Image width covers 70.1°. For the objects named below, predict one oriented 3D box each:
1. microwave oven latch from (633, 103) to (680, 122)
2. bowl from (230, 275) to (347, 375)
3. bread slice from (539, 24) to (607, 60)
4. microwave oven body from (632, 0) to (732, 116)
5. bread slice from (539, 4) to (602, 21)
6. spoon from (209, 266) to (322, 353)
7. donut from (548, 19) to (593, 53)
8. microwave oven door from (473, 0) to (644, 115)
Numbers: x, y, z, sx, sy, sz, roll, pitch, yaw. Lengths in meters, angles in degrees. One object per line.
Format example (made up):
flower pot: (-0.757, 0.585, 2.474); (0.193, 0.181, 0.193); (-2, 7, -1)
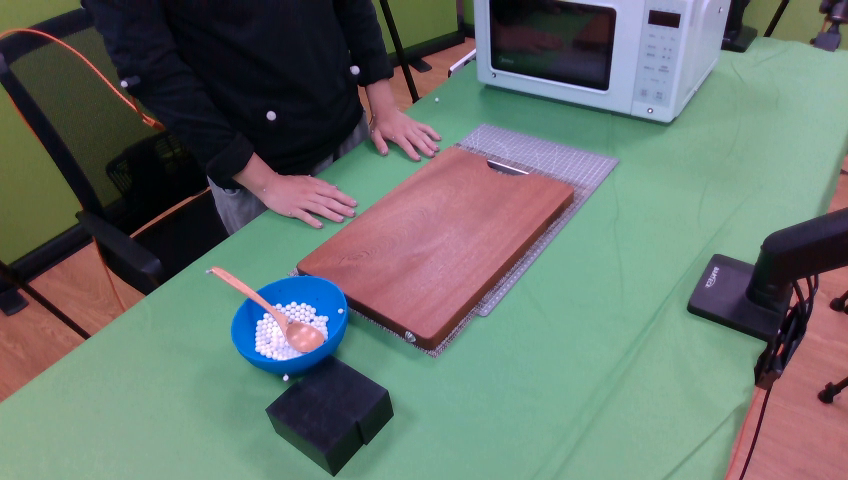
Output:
microwave oven latch: (0.443, -0.249, 1.157); (0.078, 0.029, 0.030); (21, 48, 30)
bowl: (-0.171, 0.125, 0.802); (0.151, 0.077, 0.150); (-4, 40, 4)
bread slice: (0.334, -0.443, 1.337); (0.132, 0.019, 0.104); (-33, 43, -21)
microwave oven body: (0.377, -0.462, 1.267); (0.438, 0.261, 0.327); (21, 48, 30)
bread slice: (0.315, -0.483, 1.278); (0.106, 0.018, 0.135); (15, 32, 26)
spoon: (-0.214, 0.088, 0.806); (0.193, 0.021, 0.042); (37, 55, 11)
donut: (0.314, -0.440, 1.300); (0.099, 0.048, 0.098); (-19, 36, 15)
microwave oven door: (0.257, -0.396, 1.199); (0.353, 0.245, 0.039); (21, 48, 29)
